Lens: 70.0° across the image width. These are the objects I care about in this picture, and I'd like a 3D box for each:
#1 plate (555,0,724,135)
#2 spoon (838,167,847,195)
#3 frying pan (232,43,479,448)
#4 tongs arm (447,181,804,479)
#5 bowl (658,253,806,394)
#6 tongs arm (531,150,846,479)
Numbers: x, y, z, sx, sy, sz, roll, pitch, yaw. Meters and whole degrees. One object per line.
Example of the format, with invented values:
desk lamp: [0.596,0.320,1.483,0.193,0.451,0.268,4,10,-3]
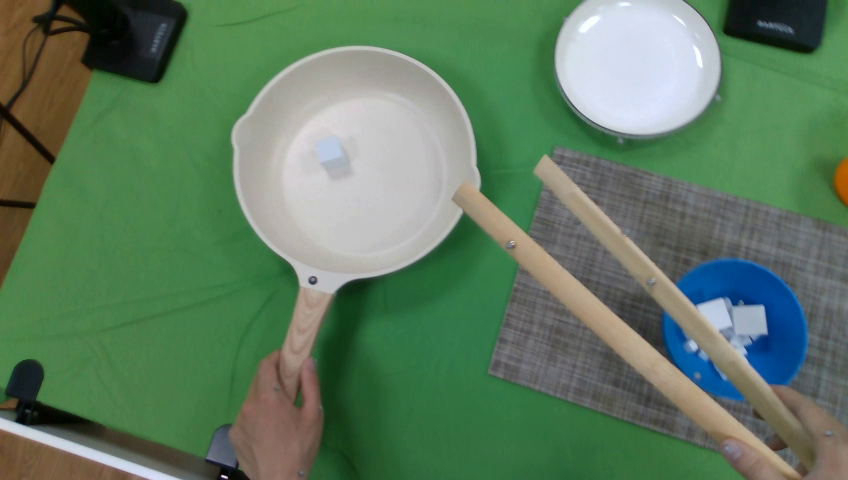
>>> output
plate: [0.272,-0.229,0.778,0.207,0.039,0.206,-1,78,3]
spoon: [0.571,-0.107,0.680,0.022,0.194,0.041,-6,67,-44]
frying pan: [-0.111,-0.002,0.717,0.306,0.103,0.485,14,71,7]
tongs arm: [0.166,0.080,0.497,0.386,0.028,0.028,42,127,12]
bowl: [0.331,0.095,0.681,0.151,0.077,0.150,-1,78,3]
tongs arm: [0.216,0.058,0.549,0.051,0.026,0.382,-20,62,-43]
